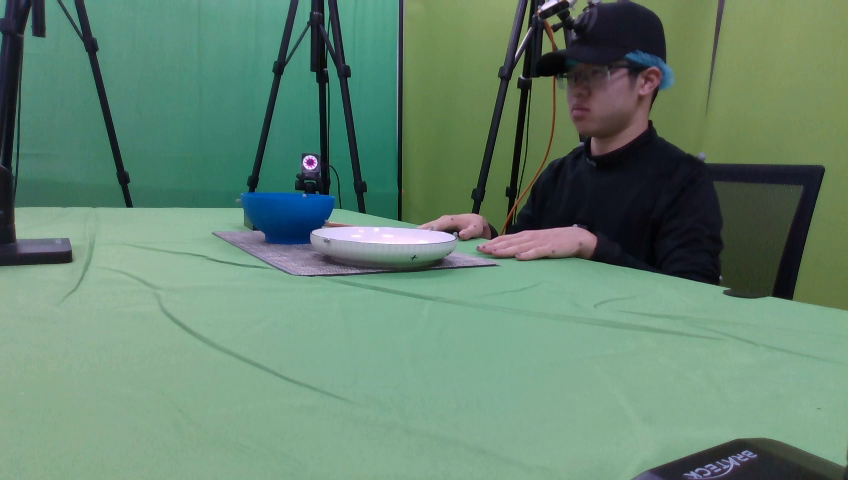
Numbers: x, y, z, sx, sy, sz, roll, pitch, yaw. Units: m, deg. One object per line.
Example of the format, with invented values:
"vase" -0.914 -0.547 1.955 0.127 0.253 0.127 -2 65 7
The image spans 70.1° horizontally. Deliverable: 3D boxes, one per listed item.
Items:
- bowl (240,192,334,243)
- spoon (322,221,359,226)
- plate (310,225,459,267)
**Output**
"bowl" -0.223 -0.037 0.992 0.151 0.077 0.151 2 7 0
"spoon" -0.197 -0.028 1.149 0.195 0.021 0.041 -2 -9 -30
"plate" -0.055 0.008 0.851 0.208 0.039 0.207 2 7 0
